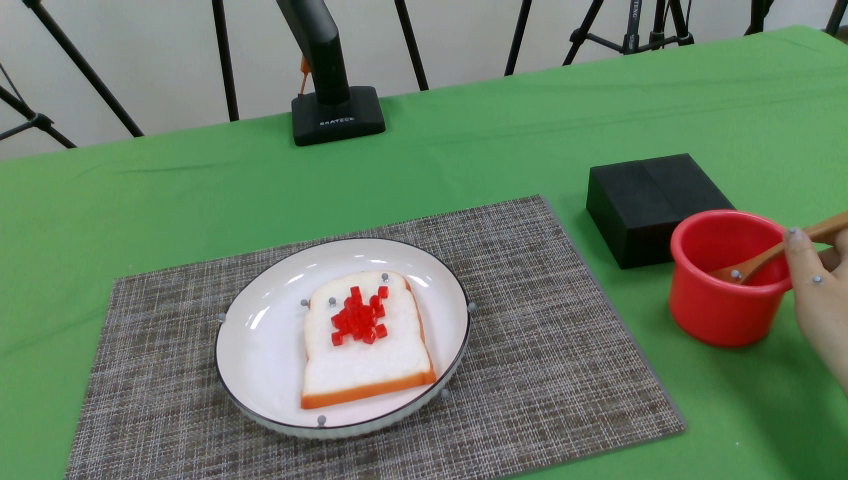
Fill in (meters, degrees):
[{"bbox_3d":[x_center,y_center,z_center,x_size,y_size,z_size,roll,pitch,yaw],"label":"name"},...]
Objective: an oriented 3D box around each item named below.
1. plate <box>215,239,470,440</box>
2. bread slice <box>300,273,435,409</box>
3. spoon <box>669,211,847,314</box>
[{"bbox_3d":[-0.066,0.079,0.508,0.209,0.038,0.207,-4,41,3],"label":"plate"},{"bbox_3d":[-0.054,0.077,0.510,0.105,0.019,0.130,-10,40,-5],"label":"bread slice"},{"bbox_3d":[0.280,0.009,0.467,0.022,0.194,0.041,38,38,-17],"label":"spoon"}]
